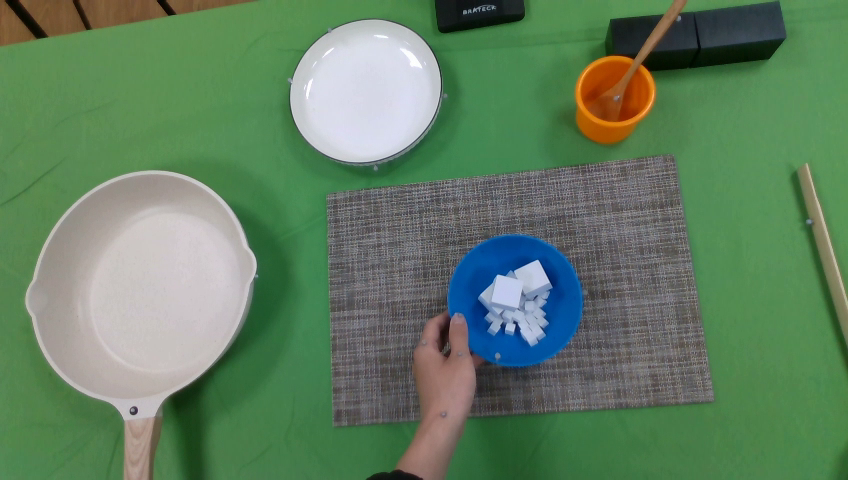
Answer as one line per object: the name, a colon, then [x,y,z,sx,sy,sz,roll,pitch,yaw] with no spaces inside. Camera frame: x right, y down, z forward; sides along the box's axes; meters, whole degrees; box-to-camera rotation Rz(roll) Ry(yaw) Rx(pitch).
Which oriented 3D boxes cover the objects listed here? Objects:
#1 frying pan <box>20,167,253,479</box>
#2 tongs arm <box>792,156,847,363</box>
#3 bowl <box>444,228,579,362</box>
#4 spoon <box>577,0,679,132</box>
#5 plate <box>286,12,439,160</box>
frying pan: [-0.346,0.150,0.742,0.306,0.103,0.484,-8,69,7]
tongs arm: [0.482,0.087,0.684,0.028,0.028,0.385,-11,78,3]
bowl: [0.101,0.068,0.708,0.151,0.077,0.150,-1,78,6]
spoon: [0.243,-0.210,0.716,0.041,0.194,0.021,44,42,17]
plate: [-0.080,-0.203,0.815,0.207,0.039,0.206,-2,78,8]
